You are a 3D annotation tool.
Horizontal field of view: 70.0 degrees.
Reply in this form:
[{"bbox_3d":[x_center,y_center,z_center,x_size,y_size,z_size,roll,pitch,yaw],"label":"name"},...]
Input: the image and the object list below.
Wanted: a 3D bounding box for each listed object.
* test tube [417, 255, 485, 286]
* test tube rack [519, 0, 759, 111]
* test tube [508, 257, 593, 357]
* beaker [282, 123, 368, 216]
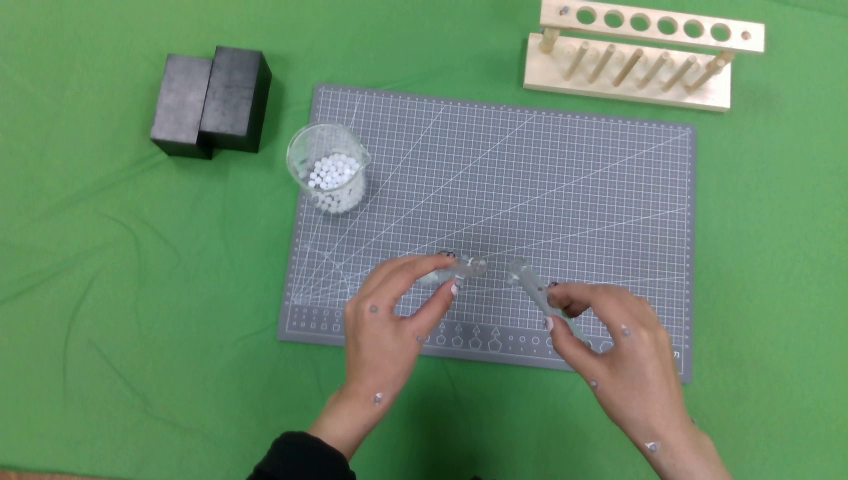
[{"bbox_3d":[0.020,0.029,0.539,0.017,0.150,0.017,2,82,-16],"label":"test tube"},{"bbox_3d":[0.238,-0.208,0.689,0.242,0.085,0.066,6,78,0],"label":"test tube rack"},{"bbox_3d":[0.109,0.060,0.503,0.017,0.152,0.017,-22,44,24],"label":"test tube"},{"bbox_3d":[-0.099,-0.070,0.641,0.084,0.100,0.073,-2,78,-2],"label":"beaker"}]
